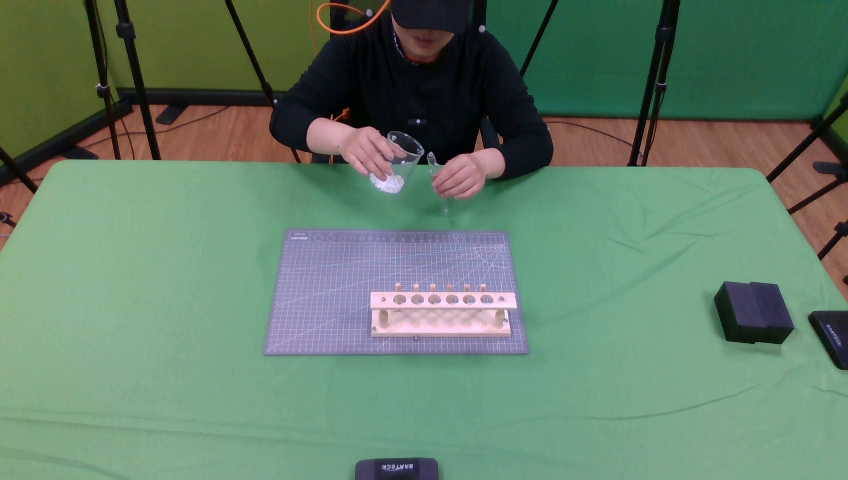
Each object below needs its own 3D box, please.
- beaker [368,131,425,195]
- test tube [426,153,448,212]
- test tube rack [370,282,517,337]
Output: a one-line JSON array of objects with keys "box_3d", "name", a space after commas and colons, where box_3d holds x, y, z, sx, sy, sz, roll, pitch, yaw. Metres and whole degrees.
[{"box_3d": [-0.053, -0.140, 1.126, 0.084, 0.100, 0.073, 7, 39, -38], "name": "beaker"}, {"box_3d": [0.027, -0.110, 1.194, 0.017, 0.151, 0.017, -9, 46, 9], "name": "test tube"}, {"box_3d": [0.030, 0.116, 1.041, 0.242, 0.085, 0.066, 1, 46, -4], "name": "test tube rack"}]
